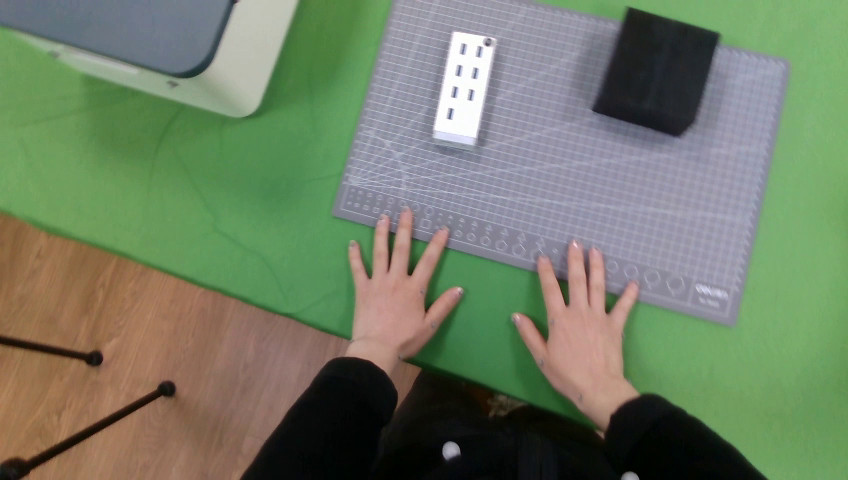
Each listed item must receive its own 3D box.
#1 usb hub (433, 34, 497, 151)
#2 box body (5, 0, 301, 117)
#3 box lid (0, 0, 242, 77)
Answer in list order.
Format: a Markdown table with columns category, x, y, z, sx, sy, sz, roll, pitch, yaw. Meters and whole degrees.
| category | x | y | z | sx | sy | sz | roll | pitch | yaw |
| --- | --- | --- | --- | --- | --- | --- | --- | --- | --- |
| usb hub | 0.046 | -0.165 | 0.678 | 0.049 | 0.025 | 0.125 | 12 | 83 | 5 |
| box body | -0.258 | -0.343 | 0.657 | 0.254 | 0.161 | 0.363 | 18 | 84 | 6 |
| box lid | -0.264 | -0.352 | 0.584 | 0.263 | 0.015 | 0.370 | 18 | 84 | 6 |
